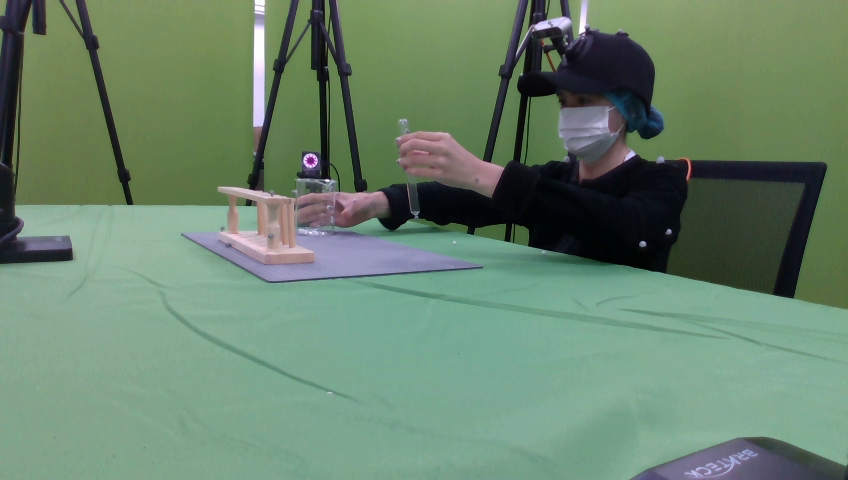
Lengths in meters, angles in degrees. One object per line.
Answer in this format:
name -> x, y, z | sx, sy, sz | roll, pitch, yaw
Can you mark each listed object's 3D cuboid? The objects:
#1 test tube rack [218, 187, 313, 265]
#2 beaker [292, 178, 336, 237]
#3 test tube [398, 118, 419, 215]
test tube rack -> -0.235, -0.027, 0.872 | 0.067, 0.085, 0.241 | -2, 8, -32
beaker -> -0.195, -0.058, 1.080 | 0.074, 0.100, 0.083 | -4, 11, -40
test tube -> -0.024, -0.113, 0.936 | 0.017, 0.150, 0.017 | -8, 4, 1
